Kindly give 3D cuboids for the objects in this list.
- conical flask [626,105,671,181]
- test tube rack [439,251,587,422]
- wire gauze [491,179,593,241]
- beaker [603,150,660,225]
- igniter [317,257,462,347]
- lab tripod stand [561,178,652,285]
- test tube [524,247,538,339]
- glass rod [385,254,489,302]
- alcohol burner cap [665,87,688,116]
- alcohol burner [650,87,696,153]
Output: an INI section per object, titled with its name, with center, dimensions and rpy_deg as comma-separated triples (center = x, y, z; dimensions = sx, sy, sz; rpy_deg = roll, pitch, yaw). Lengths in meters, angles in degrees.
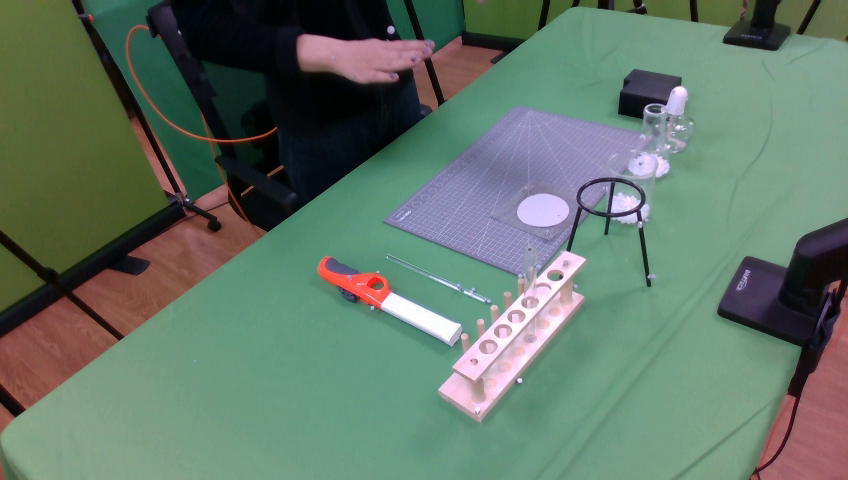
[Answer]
[conical flask]
center = 0.388, -0.168, 1.031
dimensions = 0.075, 0.122, 0.075
rpy_deg = -6, 40, 5
[test tube rack]
center = 0.118, 0.111, 0.780
dimensions = 0.066, 0.085, 0.243
rpy_deg = 26, 51, 34
[wire gauze]
center = 0.198, -0.051, 1.014
dimensions = 0.125, 0.011, 0.120
rpy_deg = -38, 48, -27
[beaker]
center = 0.324, -0.080, 0.957
dimensions = 0.083, 0.101, 0.074
rpy_deg = 7, 42, 20
[igniter]
center = -0.061, 0.086, 0.891
dimensions = 0.274, 0.025, 0.057
rpy_deg = 23, 59, 33
[lab tripod stand]
center = 0.263, -0.014, 0.864
dimensions = 0.148, 0.132, 0.147
rpy_deg = -7, 38, 6
[test tube]
center = 0.133, 0.070, 0.749
dimensions = 0.017, 0.151, 0.017
rpy_deg = -5, 38, 4
[glass rod]
center = 0.016, 0.055, 0.927
dimensions = 0.198, 0.008, 0.008
rpy_deg = 23, 50, 32
[alcohol burner cap]
center = 0.445, -0.244, 1.060
dimensions = 0.034, 0.048, 0.033
rpy_deg = -2, 45, 3
[alcohol burner]
center = 0.448, -0.218, 1.084
dimensions = 0.078, 0.119, 0.077
rpy_deg = -6, 38, 5
